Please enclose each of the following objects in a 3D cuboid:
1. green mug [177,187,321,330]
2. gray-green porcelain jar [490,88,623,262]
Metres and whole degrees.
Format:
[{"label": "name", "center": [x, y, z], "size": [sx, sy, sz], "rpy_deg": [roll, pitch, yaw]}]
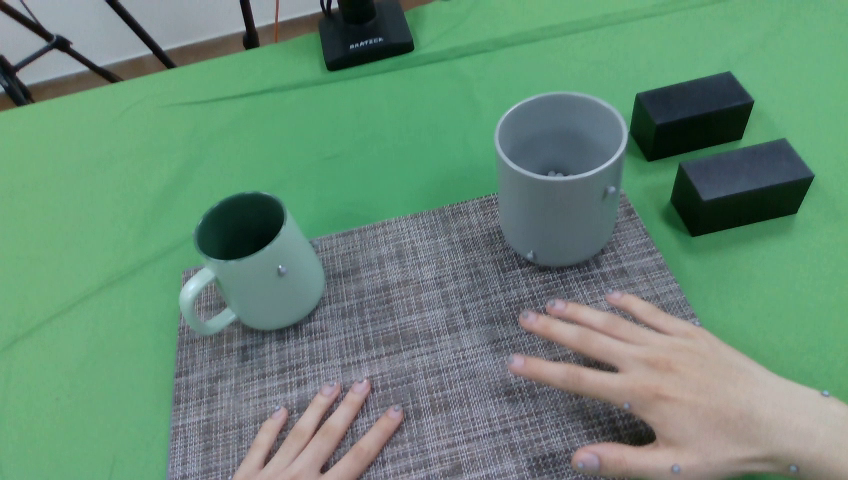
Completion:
[{"label": "green mug", "center": [-0.158, 0.027, 0.534], "size": [0.092, 0.106, 0.125], "rpy_deg": [30, 63, 28]}, {"label": "gray-green porcelain jar", "center": [0.114, -0.051, 0.533], "size": [0.106, 0.128, 0.105], "rpy_deg": [-5, 51, 7]}]
